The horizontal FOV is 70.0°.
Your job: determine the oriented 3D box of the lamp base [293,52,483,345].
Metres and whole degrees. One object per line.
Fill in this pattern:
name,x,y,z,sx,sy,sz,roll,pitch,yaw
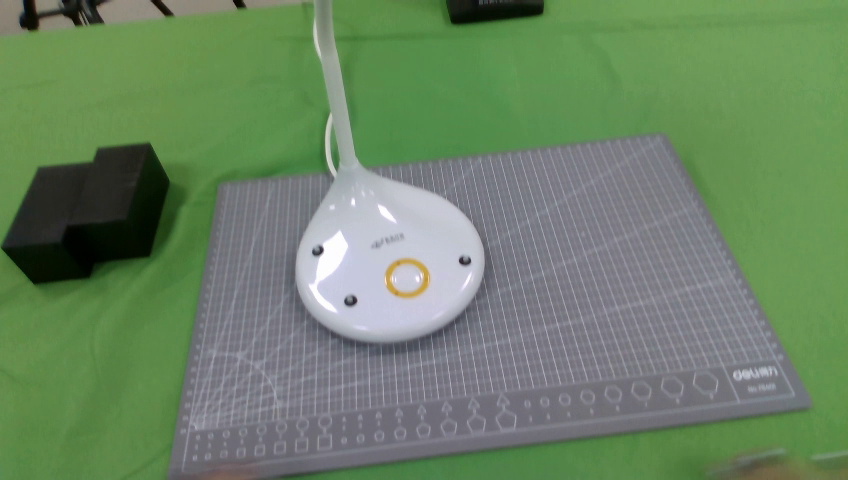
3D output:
lamp base,-0.042,-0.038,0.462,0.161,0.182,0.177,-29,50,-20

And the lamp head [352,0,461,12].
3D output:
lamp head,-0.001,-0.154,0.197,0.112,0.112,0.122,-22,81,-15
